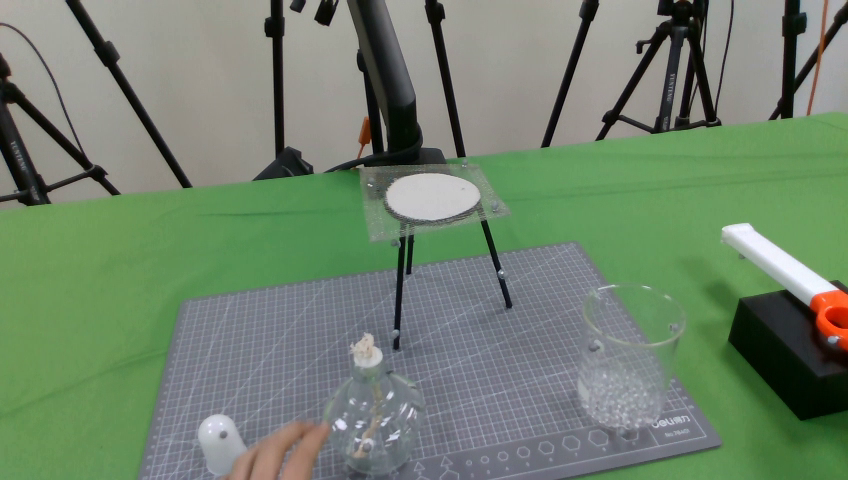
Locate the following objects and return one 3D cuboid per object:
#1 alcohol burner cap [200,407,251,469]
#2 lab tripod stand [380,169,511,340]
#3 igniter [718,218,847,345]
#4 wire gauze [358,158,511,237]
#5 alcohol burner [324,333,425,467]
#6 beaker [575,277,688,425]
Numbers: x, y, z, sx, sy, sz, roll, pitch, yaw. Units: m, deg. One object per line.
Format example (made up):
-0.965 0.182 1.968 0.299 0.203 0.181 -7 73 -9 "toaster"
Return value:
-0.156 0.151 0.472 0.034 0.048 0.033 -2 35 2 "alcohol burner cap"
0.013 0.008 0.588 0.148 0.132 0.147 -1 32 1 "lab tripod stand"
0.343 0.052 0.509 0.057 0.025 0.273 -10 31 -8 "igniter"
0.004 -0.046 0.547 0.122 0.011 0.123 -7 34 -7 "wire gauze"
-0.039 0.113 0.453 0.078 0.120 0.077 -2 36 2 "alcohol burner"
0.158 0.089 0.484 0.074 0.101 0.083 -18 36 -21 "beaker"
